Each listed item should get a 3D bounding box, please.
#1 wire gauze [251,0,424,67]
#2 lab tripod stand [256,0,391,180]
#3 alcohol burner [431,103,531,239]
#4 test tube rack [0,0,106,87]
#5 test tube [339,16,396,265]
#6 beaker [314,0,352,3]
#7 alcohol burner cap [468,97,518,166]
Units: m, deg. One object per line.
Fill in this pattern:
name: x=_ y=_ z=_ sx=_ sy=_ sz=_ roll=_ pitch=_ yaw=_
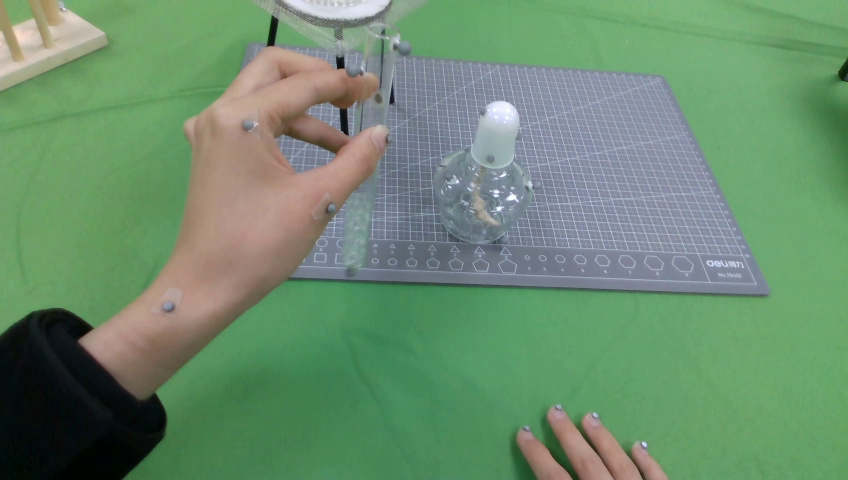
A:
wire gauze: x=-0.069 y=-0.187 z=0.449 sx=0.124 sy=0.011 sz=0.121 roll=36 pitch=56 yaw=15
lab tripod stand: x=-0.075 y=-0.145 z=0.498 sx=0.149 sy=0.132 sz=0.147 roll=6 pitch=50 yaw=-6
alcohol burner: x=0.046 y=-0.056 z=0.456 sx=0.078 sy=0.120 sz=0.077 roll=6 pitch=49 yaw=-6
test tube rack: x=-0.403 y=-0.169 z=0.502 sx=0.066 sy=0.086 sz=0.242 roll=33 pitch=53 yaw=18
test tube: x=-0.032 y=-0.042 z=0.319 sx=0.017 sy=0.151 sz=0.017 roll=7 pitch=42 yaw=-6
beaker: x=-0.067 y=-0.224 z=0.415 sx=0.084 sy=0.101 sz=0.073 roll=-35 pitch=64 yaw=-30
alcohol burner cap: x=0.050 y=-0.079 z=0.428 sx=0.034 sy=0.048 sz=0.033 roll=3 pitch=54 yaw=-3
